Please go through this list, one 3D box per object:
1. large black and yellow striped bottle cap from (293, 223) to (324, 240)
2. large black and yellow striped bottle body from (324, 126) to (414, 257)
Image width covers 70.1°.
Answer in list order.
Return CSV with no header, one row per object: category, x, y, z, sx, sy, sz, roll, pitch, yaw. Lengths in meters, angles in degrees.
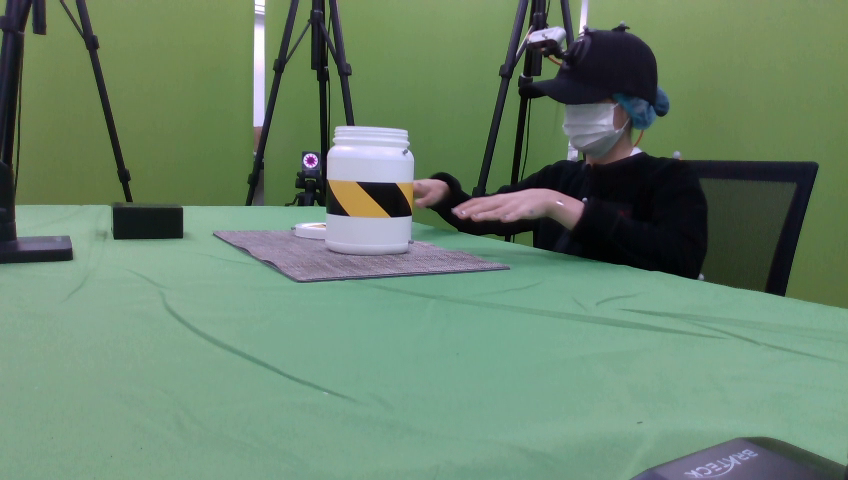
large black and yellow striped bottle cap,-0.173,-0.015,1.071,0.115,0.019,0.115,2,7,0
large black and yellow striped bottle body,-0.082,-0.074,0.904,0.131,0.184,0.130,3,7,0
